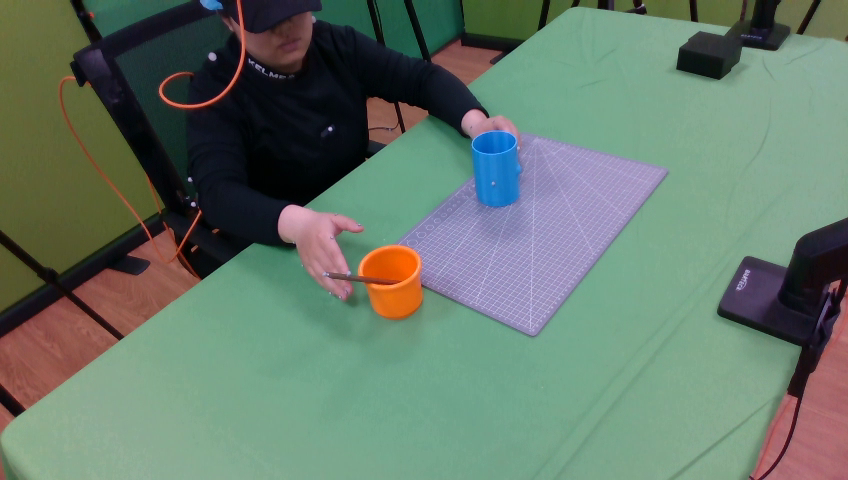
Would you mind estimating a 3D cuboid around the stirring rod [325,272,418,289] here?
[{"bbox_3d":[-0.069,0.057,0.840,0.014,0.006,0.178,27,9,39],"label":"stirring rod"}]

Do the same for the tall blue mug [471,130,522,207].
[{"bbox_3d":[0.121,-0.131,1.044,0.078,0.108,0.106,-14,40,-3],"label":"tall blue mug"}]
